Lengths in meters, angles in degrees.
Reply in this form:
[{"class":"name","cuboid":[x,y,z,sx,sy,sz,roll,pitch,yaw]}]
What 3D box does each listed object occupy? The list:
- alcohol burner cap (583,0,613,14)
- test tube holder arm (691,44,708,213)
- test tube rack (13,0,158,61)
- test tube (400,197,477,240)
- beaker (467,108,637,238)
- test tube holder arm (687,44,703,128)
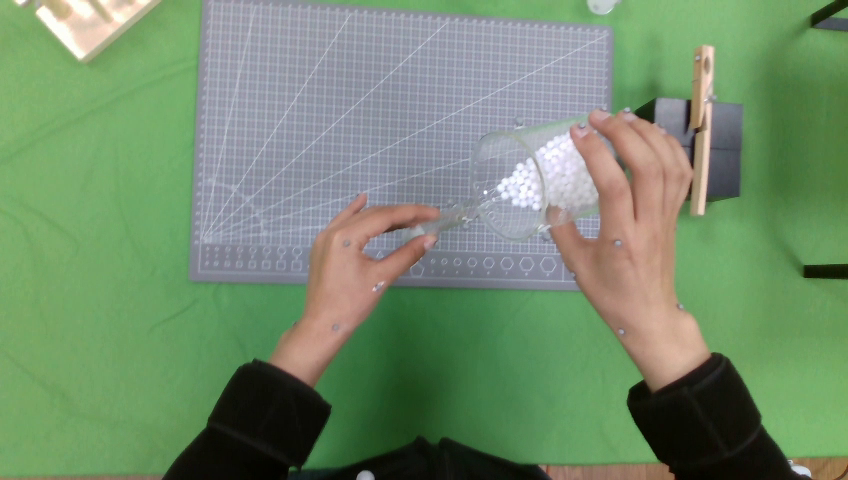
[{"class":"alcohol burner cap","cuboid":[0.200,-0.276,0.673,0.034,0.048,0.034,0,87,-7]},{"class":"test tube holder arm","cuboid":[0.292,-0.118,0.643,0.013,0.015,0.178,1,89,-14]},{"class":"test tube rack","cuboid":[-0.282,-0.292,0.594,0.242,0.085,0.067,-43,92,-6]},{"class":"test tube","cuboid":[0.008,-0.016,0.509,0.017,0.150,0.017,3,82,-20]},{"class":"beaker","cuboid":[0.089,-0.049,0.420,0.100,0.084,0.074,-18,83,-31]},{"class":"test tube holder arm","cuboid":[0.287,-0.163,0.642,0.010,0.015,0.087,2,89,-14]}]
